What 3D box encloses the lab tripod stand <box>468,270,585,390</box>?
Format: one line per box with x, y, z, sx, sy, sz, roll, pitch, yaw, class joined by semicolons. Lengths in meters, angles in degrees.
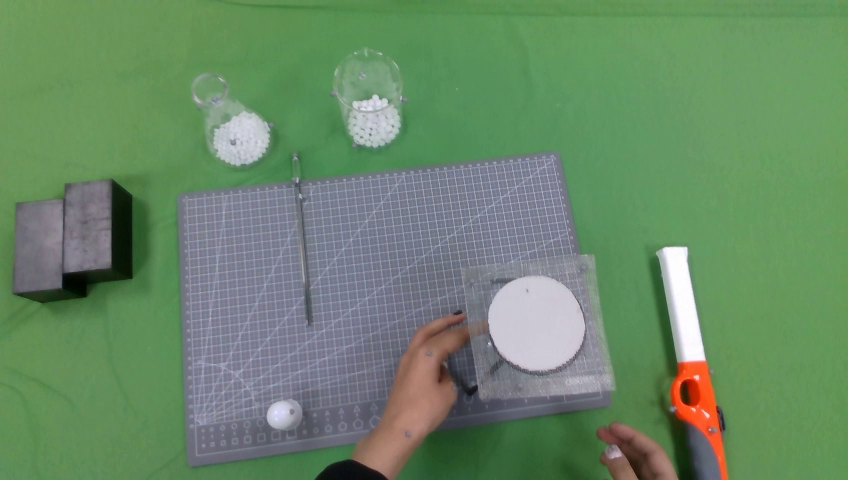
0.098;0.092;0.606;0.148;0.132;0.147;1;77;-2;lab tripod stand

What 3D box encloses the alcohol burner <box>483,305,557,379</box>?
0.099;0.101;0.614;0.078;0.119;0.077;0;75;1;alcohol burner

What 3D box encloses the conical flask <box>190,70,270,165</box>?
-0.218;-0.138;0.664;0.075;0.122;0.075;1;74;-2;conical flask

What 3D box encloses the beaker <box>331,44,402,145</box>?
-0.063;-0.161;0.688;0.074;0.101;0.083;-5;74;-3;beaker

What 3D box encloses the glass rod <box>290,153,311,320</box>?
-0.141;-0.008;0.687;0.008;0.008;0.198;-7;75;-4;glass rod

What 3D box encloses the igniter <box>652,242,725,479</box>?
0.286;0.137;0.658;0.057;0.025;0.275;0;75;-13;igniter

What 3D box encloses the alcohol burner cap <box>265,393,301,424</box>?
-0.147;0.173;0.622;0.034;0.048;0.033;1;75;-2;alcohol burner cap

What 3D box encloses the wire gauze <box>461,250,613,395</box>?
0.100;0.073;0.541;0.125;0.011;0.121;-4;77;-3;wire gauze
